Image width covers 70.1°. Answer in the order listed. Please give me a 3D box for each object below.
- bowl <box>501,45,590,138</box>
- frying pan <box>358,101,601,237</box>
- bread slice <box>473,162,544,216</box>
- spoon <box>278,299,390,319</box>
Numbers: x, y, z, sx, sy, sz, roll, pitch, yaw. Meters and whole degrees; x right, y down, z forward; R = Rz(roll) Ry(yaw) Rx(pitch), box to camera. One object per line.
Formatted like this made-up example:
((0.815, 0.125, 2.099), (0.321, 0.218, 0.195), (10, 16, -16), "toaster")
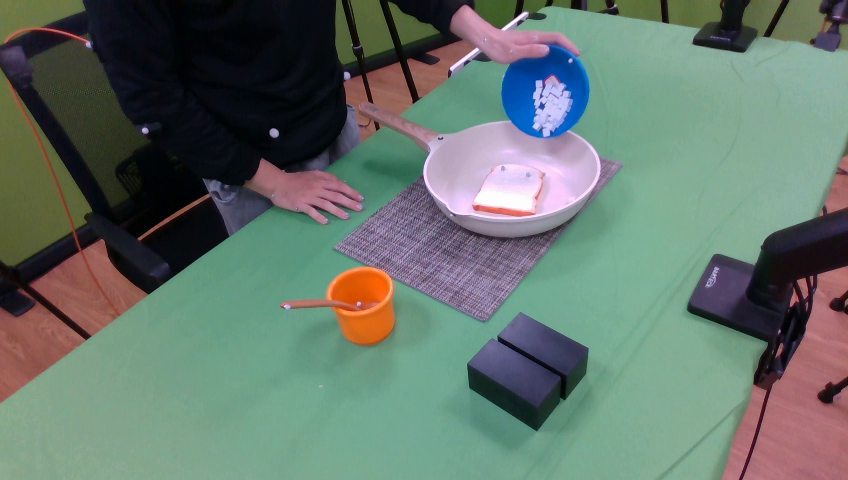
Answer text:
((0.214, -0.254, 1.021), (0.150, 0.151, 0.077), (17, 28, 26), "bowl")
((0.067, -0.153, 1.067), (0.484, 0.103, 0.308), (32, 52, 26), "frying pan")
((0.150, -0.088, 1.042), (0.106, 0.018, 0.134), (7, 46, 15), "bread slice")
((-0.113, 0.087, 0.787), (0.041, 0.021, 0.195), (29, 8, 36), "spoon")
